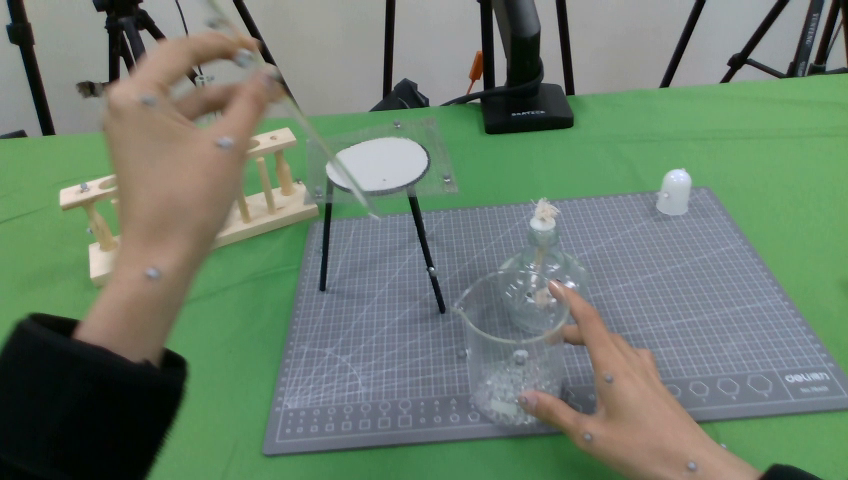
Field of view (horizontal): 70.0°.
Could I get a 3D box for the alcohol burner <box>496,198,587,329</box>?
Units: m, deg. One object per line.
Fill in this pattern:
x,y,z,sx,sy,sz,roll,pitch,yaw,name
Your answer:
0.099,0.017,0.511,0.078,0.120,0.077,-4,37,3,alcohol burner

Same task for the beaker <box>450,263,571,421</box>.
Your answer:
0.064,0.078,0.449,0.084,0.101,0.073,1,38,9,beaker

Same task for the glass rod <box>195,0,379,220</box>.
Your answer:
-0.075,-0.071,0.350,0.008,0.202,0.008,-15,50,19,glass rod

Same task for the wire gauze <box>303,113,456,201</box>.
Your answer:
-0.043,-0.071,0.515,0.125,0.011,0.120,-9,38,-2,wire gauze

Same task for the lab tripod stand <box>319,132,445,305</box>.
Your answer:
-0.037,-0.019,0.557,0.148,0.133,0.147,-4,40,4,lab tripod stand

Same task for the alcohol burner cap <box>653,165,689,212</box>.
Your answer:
0.263,-0.057,0.641,0.034,0.048,0.033,-3,38,3,alcohol burner cap

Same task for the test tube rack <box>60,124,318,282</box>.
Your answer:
-0.248,-0.045,0.660,0.243,0.086,0.066,-20,40,-17,test tube rack

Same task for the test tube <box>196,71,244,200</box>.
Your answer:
-0.219,-0.109,0.657,0.017,0.151,0.017,-3,36,2,test tube
